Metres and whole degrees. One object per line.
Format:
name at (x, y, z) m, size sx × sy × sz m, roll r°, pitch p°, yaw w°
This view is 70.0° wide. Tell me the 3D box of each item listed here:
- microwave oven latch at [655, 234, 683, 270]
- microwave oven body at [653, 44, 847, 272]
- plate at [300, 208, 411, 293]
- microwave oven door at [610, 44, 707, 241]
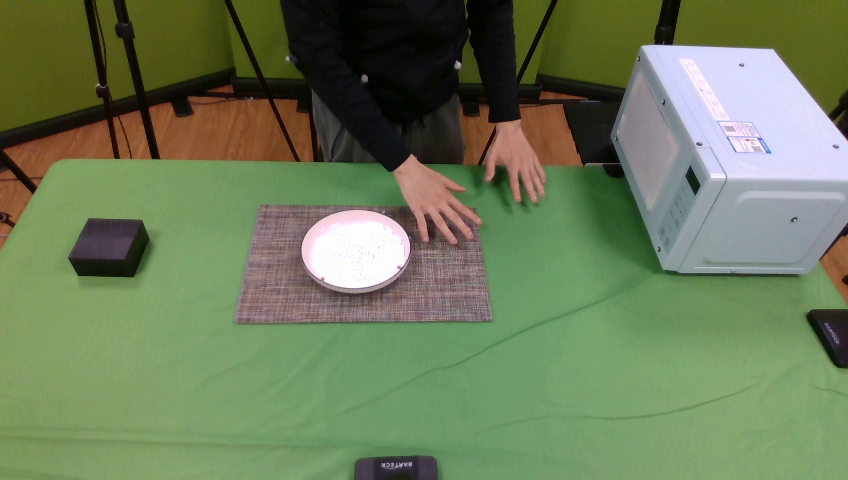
microwave oven latch at (0.473, 0.021, 1.175) m, size 0.030 × 0.029 × 0.078 m, roll 2°, pitch 46°, yaw -1°
microwave oven body at (0.620, -0.172, 1.234) m, size 0.326 × 0.261 × 0.439 m, roll 0°, pitch 46°, yaw -3°
plate at (-0.128, 0.022, 1.149) m, size 0.209 × 0.038 × 0.208 m, roll 2°, pitch 47°, yaw -2°
microwave oven door at (0.474, -0.208, 1.250) m, size 0.039 × 0.245 × 0.353 m, roll 0°, pitch 47°, yaw -3°
